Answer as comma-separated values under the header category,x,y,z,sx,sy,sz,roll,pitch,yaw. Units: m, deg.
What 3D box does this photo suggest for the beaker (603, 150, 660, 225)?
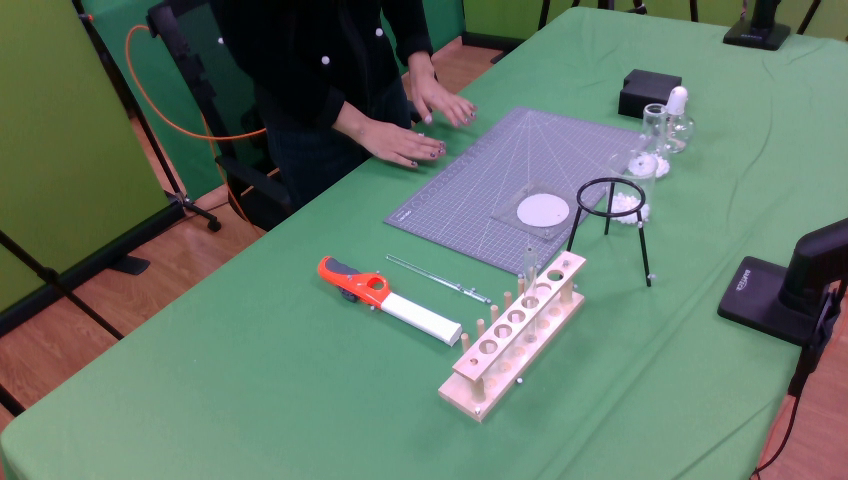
category,x,y,z,sx,sy,sz,roll,pitch,yaw
beaker,0.324,-0.080,0.957,0.083,0.101,0.074,7,42,20

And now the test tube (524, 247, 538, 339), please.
category,x,y,z,sx,sy,sz,roll,pitch,yaw
test tube,0.133,0.070,0.749,0.017,0.151,0.017,-5,38,4

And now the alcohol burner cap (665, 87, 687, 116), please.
category,x,y,z,sx,sy,sz,roll,pitch,yaw
alcohol burner cap,0.445,-0.244,1.060,0.034,0.048,0.033,-2,45,3

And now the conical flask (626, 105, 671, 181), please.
category,x,y,z,sx,sy,sz,roll,pitch,yaw
conical flask,0.388,-0.168,1.031,0.075,0.122,0.075,-6,40,5

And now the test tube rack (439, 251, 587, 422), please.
category,x,y,z,sx,sy,sz,roll,pitch,yaw
test tube rack,0.118,0.111,0.780,0.066,0.085,0.243,26,51,34

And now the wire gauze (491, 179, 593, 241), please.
category,x,y,z,sx,sy,sz,roll,pitch,yaw
wire gauze,0.198,-0.051,1.014,0.125,0.011,0.120,-38,48,-27

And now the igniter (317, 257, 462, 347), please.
category,x,y,z,sx,sy,sz,roll,pitch,yaw
igniter,-0.061,0.086,0.891,0.274,0.025,0.057,23,59,33

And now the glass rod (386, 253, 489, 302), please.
category,x,y,z,sx,sy,sz,roll,pitch,yaw
glass rod,0.016,0.055,0.927,0.198,0.008,0.008,23,50,32

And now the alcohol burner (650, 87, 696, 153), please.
category,x,y,z,sx,sy,sz,roll,pitch,yaw
alcohol burner,0.448,-0.218,1.084,0.078,0.119,0.077,-6,38,5

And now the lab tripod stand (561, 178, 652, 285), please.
category,x,y,z,sx,sy,sz,roll,pitch,yaw
lab tripod stand,0.263,-0.014,0.864,0.148,0.132,0.147,-7,38,6
